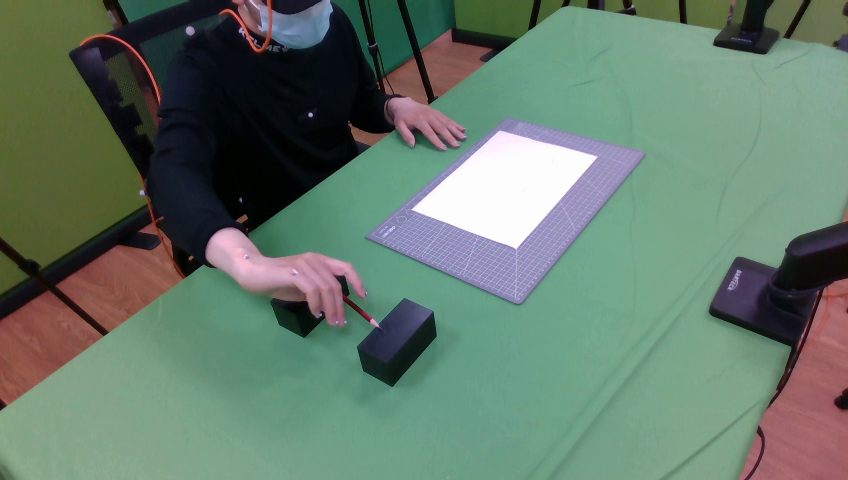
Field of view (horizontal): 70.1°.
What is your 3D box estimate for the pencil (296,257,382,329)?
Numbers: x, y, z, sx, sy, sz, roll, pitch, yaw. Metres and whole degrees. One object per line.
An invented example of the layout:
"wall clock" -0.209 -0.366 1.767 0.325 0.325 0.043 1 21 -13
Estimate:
"pencil" -0.120 0.071 0.839 0.012 0.012 0.192 -35 49 -28
